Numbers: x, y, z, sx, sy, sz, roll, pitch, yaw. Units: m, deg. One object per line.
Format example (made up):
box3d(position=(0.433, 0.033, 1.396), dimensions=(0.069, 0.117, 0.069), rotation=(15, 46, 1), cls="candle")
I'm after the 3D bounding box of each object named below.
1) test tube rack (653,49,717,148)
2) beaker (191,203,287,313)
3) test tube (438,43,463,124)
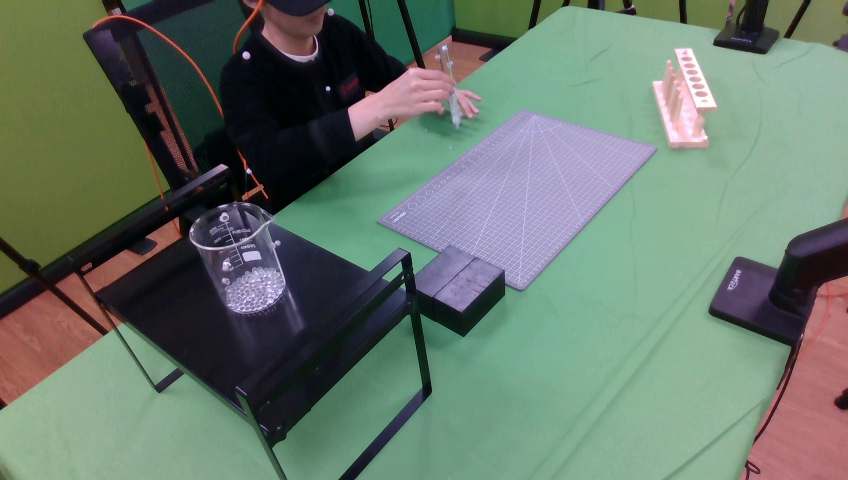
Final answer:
box3d(position=(0.502, -0.281, 1.177), dimensions=(0.066, 0.085, 0.241), rotation=(1, 41, 11), cls="test tube rack")
box3d(position=(-0.189, 0.021, 0.642), dimensions=(0.084, 0.101, 0.073), rotation=(-17, 41, -11), cls="beaker")
box3d(position=(0.047, -0.264, 1.031), dimensions=(0.017, 0.151, 0.017), rotation=(-9, 42, 9), cls="test tube")
